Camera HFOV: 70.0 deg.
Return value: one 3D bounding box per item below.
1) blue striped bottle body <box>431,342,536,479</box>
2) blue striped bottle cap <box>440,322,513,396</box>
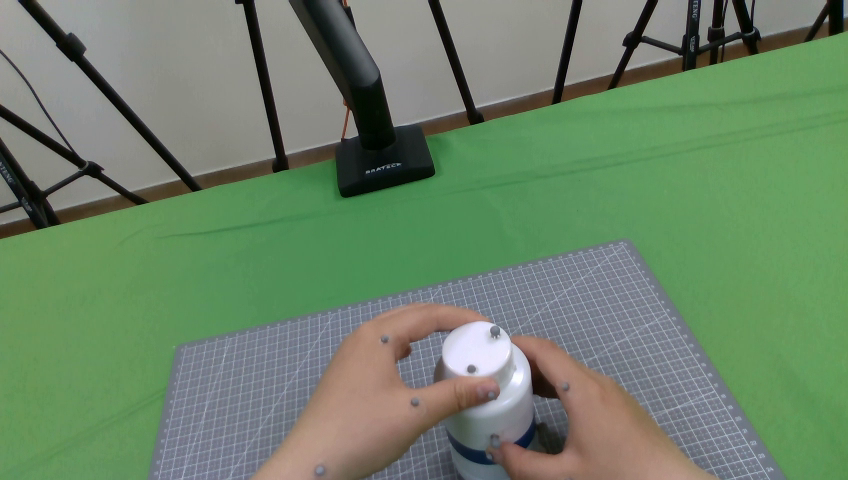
[{"bbox_3d":[0.041,0.109,0.405,0.063,0.122,0.062,-7,42,7],"label":"blue striped bottle body"},{"bbox_3d":[0.032,0.072,0.372,0.044,0.021,0.044,-7,40,6],"label":"blue striped bottle cap"}]
